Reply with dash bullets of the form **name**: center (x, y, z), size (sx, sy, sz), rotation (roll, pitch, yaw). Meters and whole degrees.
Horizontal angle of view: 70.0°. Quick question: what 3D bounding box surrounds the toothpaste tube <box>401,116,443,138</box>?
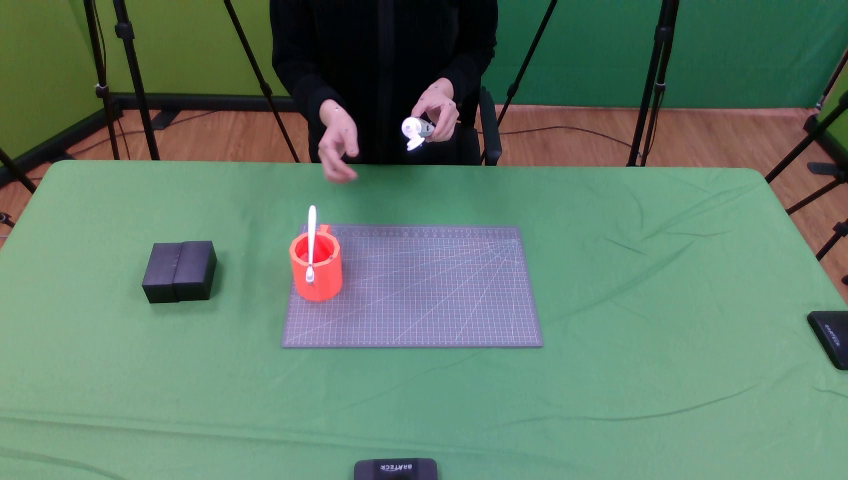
- **toothpaste tube**: center (-0.006, -0.202, 1.081), size (0.055, 0.034, 0.165), rotation (36, 19, 4)

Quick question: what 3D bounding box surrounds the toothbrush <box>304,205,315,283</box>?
- **toothbrush**: center (-0.199, 0.001, 1.052), size (0.014, 0.017, 0.180), rotation (-4, 46, -4)

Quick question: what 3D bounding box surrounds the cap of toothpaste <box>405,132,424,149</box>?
- **cap of toothpaste**: center (-0.017, -0.165, 0.999), size (0.037, 0.011, 0.037), rotation (-33, 21, 15)

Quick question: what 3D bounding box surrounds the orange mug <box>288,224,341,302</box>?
- **orange mug**: center (-0.192, 0.034, 1.094), size (0.083, 0.101, 0.125), rotation (7, 50, 2)
